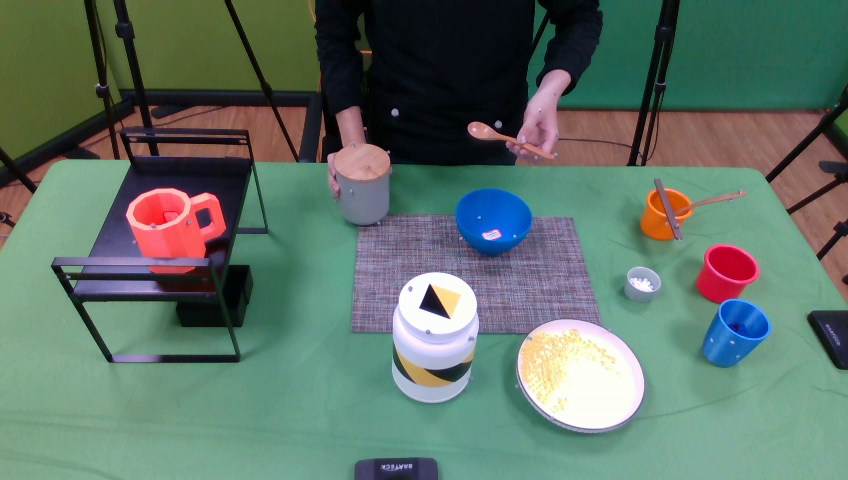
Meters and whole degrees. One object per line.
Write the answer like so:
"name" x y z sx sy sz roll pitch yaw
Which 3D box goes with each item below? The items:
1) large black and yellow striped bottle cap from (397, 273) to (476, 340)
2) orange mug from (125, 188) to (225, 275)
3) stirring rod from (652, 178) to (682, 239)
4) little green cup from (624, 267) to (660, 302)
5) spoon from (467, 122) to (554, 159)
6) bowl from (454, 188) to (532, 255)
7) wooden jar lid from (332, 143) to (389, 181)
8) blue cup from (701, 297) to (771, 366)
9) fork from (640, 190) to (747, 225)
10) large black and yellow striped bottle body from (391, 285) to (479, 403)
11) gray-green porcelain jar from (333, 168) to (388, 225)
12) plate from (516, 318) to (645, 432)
"large black and yellow striped bottle cap" 0.018 0.094 0.878 0.115 0.019 0.114 3 46 -3
"orange mug" -0.357 -0.019 0.884 0.126 0.101 0.083 -29 54 -23
"stirring rod" 0.481 -0.065 1.204 0.014 0.006 0.175 2 46 -1
"little green cup" 0.406 0.084 1.135 0.061 0.039 0.061 3 45 -3
"spoon" 0.147 -0.174 1.057 0.041 0.022 0.192 -31 39 -28
"bowl" 0.131 -0.025 1.186 0.151 0.077 0.150 2 46 -2
"wooden jar lid" -0.122 -0.146 1.164 0.108 0.021 0.107 2 46 -2
"blue cup" 0.519 0.162 1.025 0.093 0.101 0.092 3 45 -3
"fork" 0.533 -0.065 1.211 0.207 0.019 0.028 -22 28 38
"large black and yellow striped bottle body" 0.015 0.153 0.938 0.131 0.185 0.130 2 46 -2
"gray-green porcelain jar" -0.125 -0.102 1.208 0.106 0.127 0.105 2 45 -2
"plate" 0.253 0.221 0.992 0.209 0.038 0.208 2 46 -2
